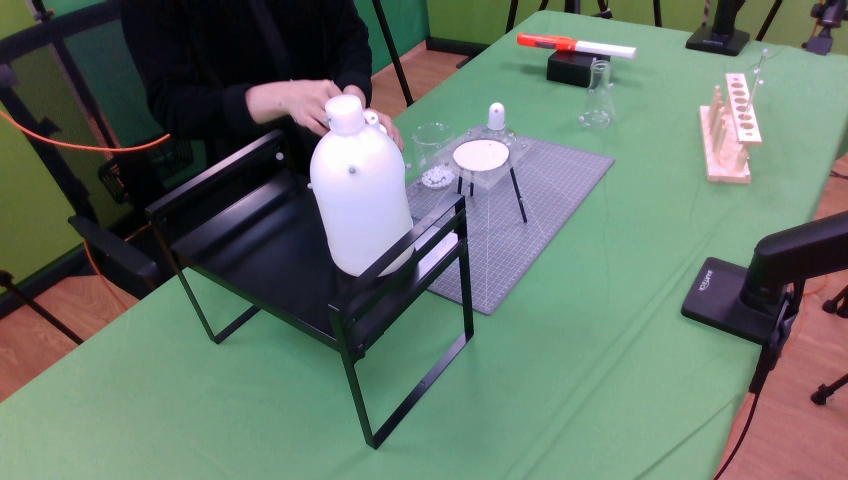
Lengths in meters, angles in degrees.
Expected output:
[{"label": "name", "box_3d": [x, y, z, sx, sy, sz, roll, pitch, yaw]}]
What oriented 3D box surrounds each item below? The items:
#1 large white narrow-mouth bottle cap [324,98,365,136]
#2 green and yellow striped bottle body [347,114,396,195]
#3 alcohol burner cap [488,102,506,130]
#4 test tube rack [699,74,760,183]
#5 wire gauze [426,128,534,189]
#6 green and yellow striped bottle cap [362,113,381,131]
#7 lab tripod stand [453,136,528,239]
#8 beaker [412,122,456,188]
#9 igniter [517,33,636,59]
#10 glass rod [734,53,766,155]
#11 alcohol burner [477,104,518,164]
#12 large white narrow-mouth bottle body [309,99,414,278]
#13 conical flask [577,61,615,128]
[{"label": "large white narrow-mouth bottle cap", "box_3d": [-0.076, -0.120, 0.585, 0.038, 0.024, 0.037, -3, 42, 4]}, {"label": "green and yellow striped bottle body", "box_3d": [-0.082, -0.134, 0.941, 0.063, 0.120, 0.063, -4, 42, 4]}, {"label": "alcohol burner cap", "box_3d": [0.133, -0.227, 1.092, 0.034, 0.048, 0.033, -1, 47, 2]}, {"label": "test tube rack", "box_3d": [0.547, -0.208, 1.095, 0.066, 0.085, 0.242, 6, 42, 16]}, {"label": "wire gauze", "box_3d": [0.086, -0.131, 0.924, 0.124, 0.011, 0.122, 26, 52, 33]}, {"label": "green and yellow striped bottle cap", "box_3d": [-0.088, -0.171, 0.906, 0.045, 0.020, 0.045, -3, 41, 3]}, {"label": "lab tripod stand", "box_3d": [0.095, -0.086, 0.974, 0.148, 0.132, 0.147, -4, 43, 4]}, {"label": "beaker", "box_3d": [0.022, -0.152, 1.088, 0.073, 0.100, 0.084, 13, 43, 21]}, {"label": "igniter", "box_3d": [0.336, -0.441, 1.369, 0.275, 0.025, 0.057, 16, 41, 23]}, {"label": "glass rod", "box_3d": [0.540, -0.220, 1.007, 0.008, 0.201, 0.008, -5, 45, 6]}, {"label": "alcohol burner", "box_3d": [0.135, -0.200, 1.117, 0.078, 0.119, 0.077, -4, 43, 4]}, {"label": "large white narrow-mouth bottle body", "box_3d": [-0.068, -0.057, 0.644, 0.102, 0.195, 0.101, -4, 42, 4]}, {"label": "conical flask", "box_3d": [0.343, -0.288, 1.188, 0.075, 0.122, 0.075, -4, 41, 4]}]
